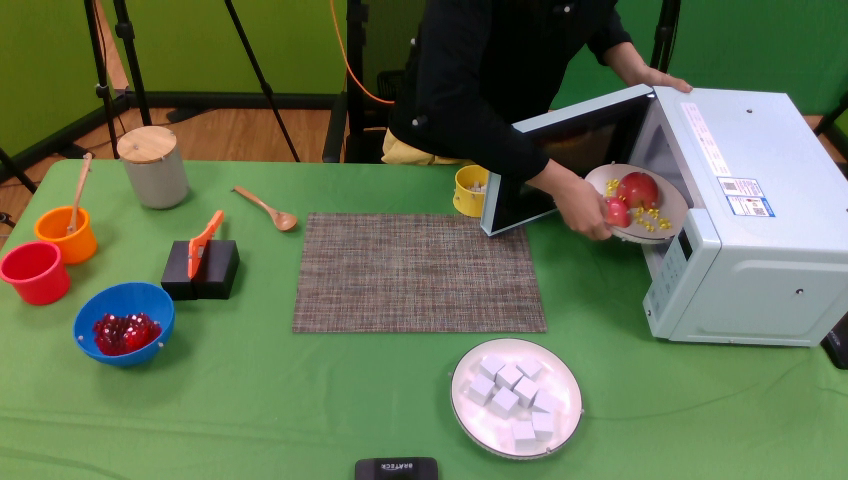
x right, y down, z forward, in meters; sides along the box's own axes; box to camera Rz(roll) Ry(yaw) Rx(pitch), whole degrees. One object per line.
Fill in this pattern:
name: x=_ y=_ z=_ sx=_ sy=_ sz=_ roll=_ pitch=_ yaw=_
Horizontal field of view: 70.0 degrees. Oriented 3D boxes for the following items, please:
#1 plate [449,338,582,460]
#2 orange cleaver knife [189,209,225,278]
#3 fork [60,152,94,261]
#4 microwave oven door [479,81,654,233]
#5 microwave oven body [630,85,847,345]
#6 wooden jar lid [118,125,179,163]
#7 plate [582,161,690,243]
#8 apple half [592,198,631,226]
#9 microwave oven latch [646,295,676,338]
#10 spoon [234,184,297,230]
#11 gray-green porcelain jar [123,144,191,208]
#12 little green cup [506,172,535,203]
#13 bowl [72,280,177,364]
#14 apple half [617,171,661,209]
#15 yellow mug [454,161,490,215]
plate: x=0.141 y=0.251 z=0.955 sx=0.208 sy=0.039 sz=0.206 roll=2 pitch=46 yaw=-2
orange cleaver knife: x=-0.401 y=0.002 z=1.122 sx=0.012 sy=0.077 sz=0.210 roll=4 pitch=23 yaw=-4
fork: x=-0.638 y=-0.063 z=1.120 sx=0.028 sy=0.018 sz=0.207 roll=12 pitch=90 yaw=7
microwave oven door: x=0.280 y=-0.164 z=1.193 sx=0.356 sy=0.245 sz=0.039 roll=-21 pitch=52 yaw=-21
microwave oven body: x=0.568 y=-0.054 z=1.116 sx=0.326 sy=0.261 sz=0.439 roll=2 pitch=46 yaw=-1
wooden jar lid: x=-0.528 y=-0.181 z=1.167 sx=0.108 sy=0.021 sz=0.107 roll=4 pitch=48 yaw=-4
plate: x=0.400 y=-0.070 z=1.156 sx=0.209 sy=0.038 sz=0.208 roll=5 pitch=47 yaw=-5
apple half: x=0.354 y=-0.061 z=1.133 sx=0.081 sy=0.033 sz=0.081 roll=13 pitch=33 yaw=-8
microwave oven latch: x=0.413 y=0.133 z=1.060 sx=0.030 sy=0.029 sz=0.078 roll=4 pitch=46 yaw=1
spoon: x=-0.327 y=-0.073 z=1.240 sx=0.193 sy=0.022 sz=0.041 roll=34 pitch=71 yaw=25
gray-green porcelain jar: x=-0.531 y=-0.137 z=1.214 sx=0.106 sy=0.127 sz=0.105 roll=2 pitch=47 yaw=-2
little green cup: x=0.205 y=-0.111 z=1.302 sx=0.061 sy=0.039 sz=0.061 roll=2 pitch=47 yaw=-2
bowl: x=-0.472 y=0.146 z=0.982 sx=0.151 sy=0.077 sz=0.150 roll=2 pitch=46 yaw=-2
apple half: x=0.419 y=-0.103 z=1.167 sx=0.081 sy=0.053 sz=0.074 roll=11 pitch=43 yaw=4
yellow mug: x=0.117 y=-0.119 z=1.284 sx=0.100 sy=0.064 sz=0.130 roll=9 pitch=44 yaw=4
